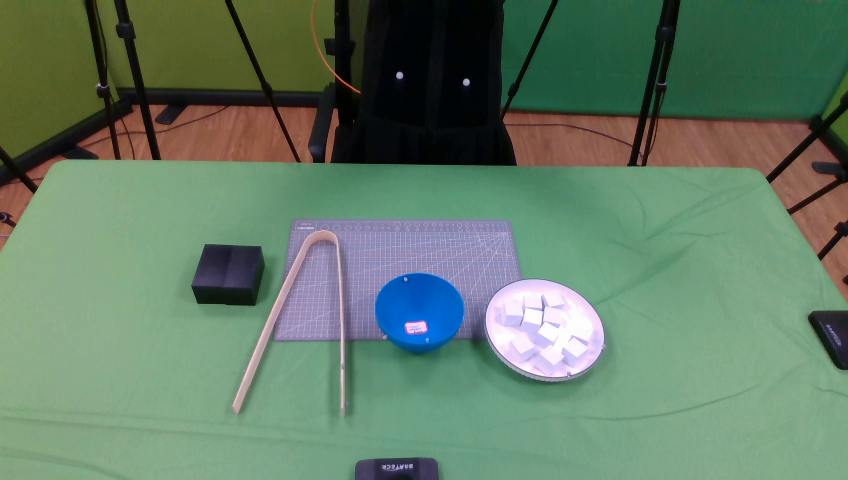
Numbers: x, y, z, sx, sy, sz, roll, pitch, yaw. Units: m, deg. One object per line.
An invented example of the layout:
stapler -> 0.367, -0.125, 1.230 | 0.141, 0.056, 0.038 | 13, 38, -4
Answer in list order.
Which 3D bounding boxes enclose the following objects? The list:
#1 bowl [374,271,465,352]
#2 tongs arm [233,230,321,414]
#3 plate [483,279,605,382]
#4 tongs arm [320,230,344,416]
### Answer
bowl -> -0.009, 0.136, 1.024 | 0.151, 0.077, 0.150 | 2, 47, -2
tongs arm -> -0.250, 0.124, 1.054 | 0.028, 0.028, 0.385 | 5, 46, 10
plate -> 0.204, 0.158, 1.046 | 0.208, 0.039, 0.206 | 3, 47, -3
tongs arm -> -0.163, 0.126, 1.054 | 0.051, 0.026, 0.382 | -4, 47, -2
